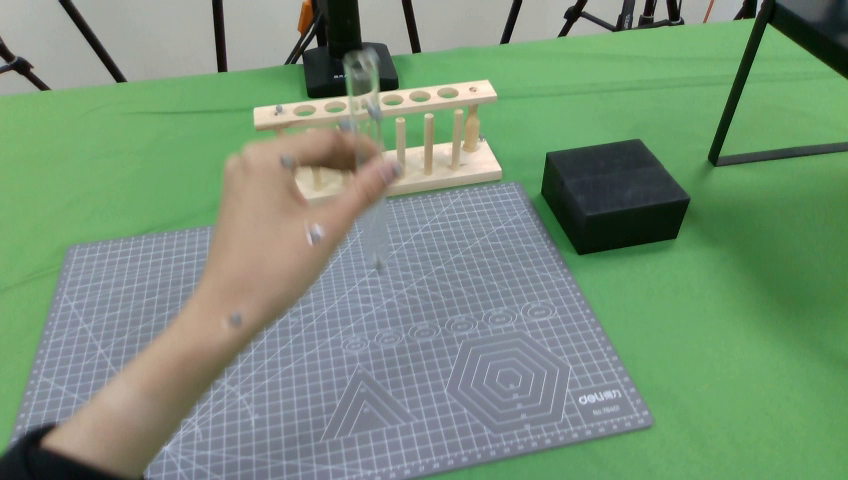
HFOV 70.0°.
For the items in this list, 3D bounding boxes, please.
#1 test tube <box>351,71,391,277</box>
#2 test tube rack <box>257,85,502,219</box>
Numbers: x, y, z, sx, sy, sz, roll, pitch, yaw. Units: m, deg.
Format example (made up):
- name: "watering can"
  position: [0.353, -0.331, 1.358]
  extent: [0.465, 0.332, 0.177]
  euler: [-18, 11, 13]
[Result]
- name: "test tube"
  position: [-0.028, -0.028, 0.344]
  extent: [0.017, 0.151, 0.017]
  euler: [1, 49, 0]
- name: "test tube rack"
  position: [-0.041, -0.093, 0.628]
  extent: [0.243, 0.086, 0.066]
  euler: [-9, 43, -9]
